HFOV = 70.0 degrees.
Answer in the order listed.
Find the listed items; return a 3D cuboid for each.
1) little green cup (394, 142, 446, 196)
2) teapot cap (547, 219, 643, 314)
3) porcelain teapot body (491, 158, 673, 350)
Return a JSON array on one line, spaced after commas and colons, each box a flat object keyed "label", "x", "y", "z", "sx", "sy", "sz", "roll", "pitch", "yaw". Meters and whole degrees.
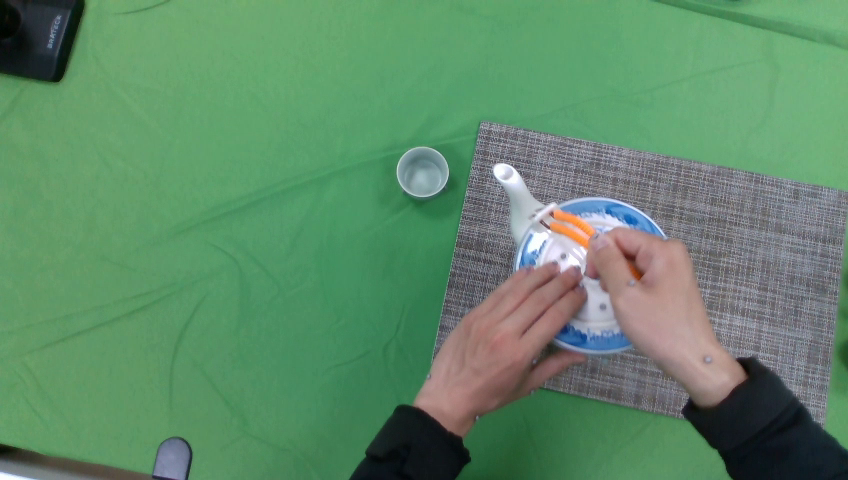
[{"label": "little green cup", "x": -0.005, "y": -0.081, "z": 0.720, "sx": 0.061, "sy": 0.039, "sz": 0.061, "roll": 0, "pitch": 81, "yaw": 1}, {"label": "teapot cap", "x": 0.150, "y": 0.022, "z": 0.532, "sx": 0.085, "sy": 0.044, "sz": 0.085, "roll": -2, "pitch": 77, "yaw": 9}, {"label": "porcelain teapot body", "x": 0.135, "y": 0.009, "z": 0.577, "sx": 0.145, "sy": 0.226, "sz": 0.204, "roll": -43, "pitch": 76, "yaw": 0}]
